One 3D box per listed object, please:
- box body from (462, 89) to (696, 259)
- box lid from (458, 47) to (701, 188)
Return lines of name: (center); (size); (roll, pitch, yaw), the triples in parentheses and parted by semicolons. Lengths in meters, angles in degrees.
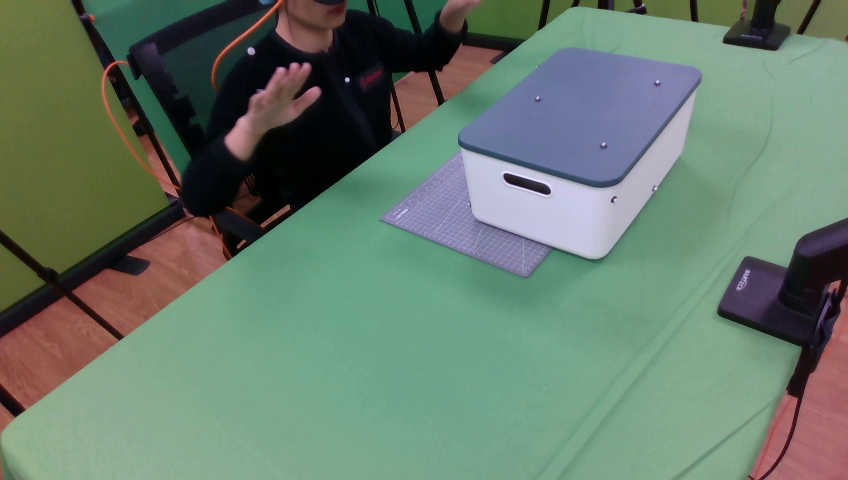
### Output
box body: (0.261, -0.153, 1.001); (0.252, 0.161, 0.365); (21, 48, 31)
box lid: (0.253, -0.211, 0.954); (0.261, 0.015, 0.372); (22, 49, 30)
